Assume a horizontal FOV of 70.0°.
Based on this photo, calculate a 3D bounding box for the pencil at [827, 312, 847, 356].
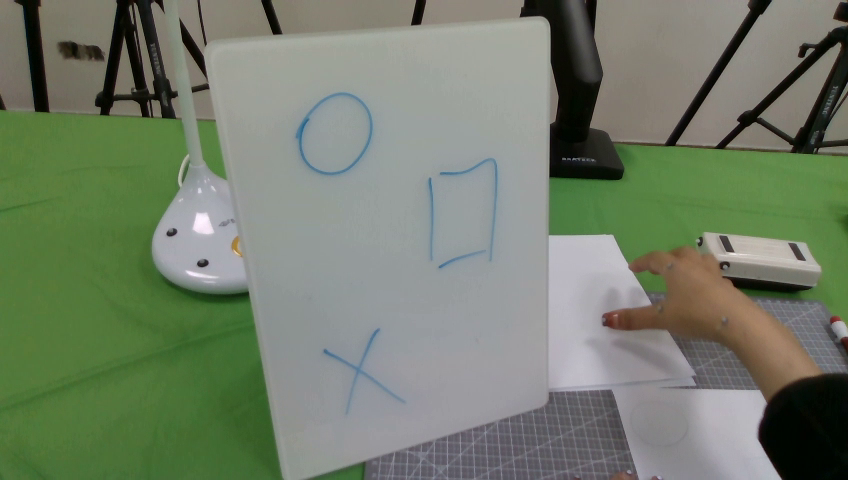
[{"bbox_3d":[0.389,0.135,0.524,0.012,0.012,0.192,7,41,3],"label":"pencil"}]

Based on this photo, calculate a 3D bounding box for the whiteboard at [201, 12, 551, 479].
[{"bbox_3d":[-0.032,-0.007,0.472,0.218,0.307,0.142,-11,22,-17],"label":"whiteboard"}]

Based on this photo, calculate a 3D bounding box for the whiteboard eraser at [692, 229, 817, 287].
[{"bbox_3d":[0.348,0.020,0.644,0.112,0.042,0.055,7,39,3],"label":"whiteboard eraser"}]

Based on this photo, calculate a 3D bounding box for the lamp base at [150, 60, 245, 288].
[{"bbox_3d":[-0.204,-0.071,0.590,0.177,0.182,0.160,30,45,32],"label":"lamp base"}]
